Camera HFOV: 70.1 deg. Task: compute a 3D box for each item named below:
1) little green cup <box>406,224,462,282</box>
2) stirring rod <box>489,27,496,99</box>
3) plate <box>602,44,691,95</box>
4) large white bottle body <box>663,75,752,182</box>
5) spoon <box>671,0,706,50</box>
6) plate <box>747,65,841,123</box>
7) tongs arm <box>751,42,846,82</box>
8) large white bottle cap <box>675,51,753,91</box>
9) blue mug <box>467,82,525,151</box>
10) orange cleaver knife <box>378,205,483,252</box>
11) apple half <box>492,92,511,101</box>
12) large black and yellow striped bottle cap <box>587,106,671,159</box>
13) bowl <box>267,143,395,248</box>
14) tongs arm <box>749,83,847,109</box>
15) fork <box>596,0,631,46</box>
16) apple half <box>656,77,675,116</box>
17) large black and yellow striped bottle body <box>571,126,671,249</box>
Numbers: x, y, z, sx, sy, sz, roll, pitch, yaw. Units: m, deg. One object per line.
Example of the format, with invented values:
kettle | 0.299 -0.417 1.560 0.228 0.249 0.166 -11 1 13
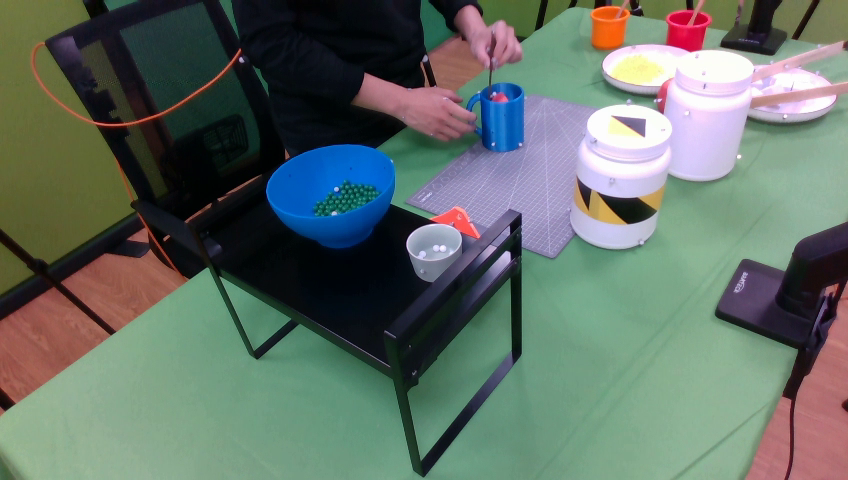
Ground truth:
little green cup | 0.012 0.015 0.668 0.061 0.039 0.061 -4 40 4
stirring rod | 0.123 -0.300 1.107 0.006 0.177 0.014 1 37 1
plate | 0.495 -0.367 1.317 0.209 0.038 0.208 -4 40 4
large white bottle body | 0.472 -0.207 1.022 0.130 0.185 0.130 -4 41 4
spoon | 0.629 -0.520 1.394 0.041 0.022 0.193 30 96 34
plate | 0.695 -0.282 1.189 0.207 0.039 0.206 -4 40 4
tongs arm | 0.708 -0.331 1.193 0.386 0.026 0.050 -18 45 -16
large white bottle cap | 0.463 -0.271 0.967 0.115 0.018 0.114 -4 40 4
blue mug | 0.138 -0.241 1.169 0.116 0.106 0.082 11 44 21
orange cleaver knife | 0.005 -0.010 0.944 0.210 0.077 0.012 -5 23 47
apple half | 0.144 -0.240 1.154 0.033 0.081 0.080 -13 40 -20
large black and yellow striped bottle cap | 0.290 -0.154 0.858 0.115 0.019 0.114 -4 42 4
bowl | -0.104 -0.043 0.726 0.151 0.077 0.150 -4 41 4
tongs arm | 0.734 -0.280 1.133 0.388 0.028 0.028 -9 47 -5
fork | 0.481 -0.555 1.452 0.028 0.019 0.207 41 104 40
apple half | 0.488 -0.281 1.192 0.053 0.075 0.081 24 54 37
large black and yellow striped bottle body | 0.296 -0.093 0.915 0.131 0.185 0.130 -3 42 3
